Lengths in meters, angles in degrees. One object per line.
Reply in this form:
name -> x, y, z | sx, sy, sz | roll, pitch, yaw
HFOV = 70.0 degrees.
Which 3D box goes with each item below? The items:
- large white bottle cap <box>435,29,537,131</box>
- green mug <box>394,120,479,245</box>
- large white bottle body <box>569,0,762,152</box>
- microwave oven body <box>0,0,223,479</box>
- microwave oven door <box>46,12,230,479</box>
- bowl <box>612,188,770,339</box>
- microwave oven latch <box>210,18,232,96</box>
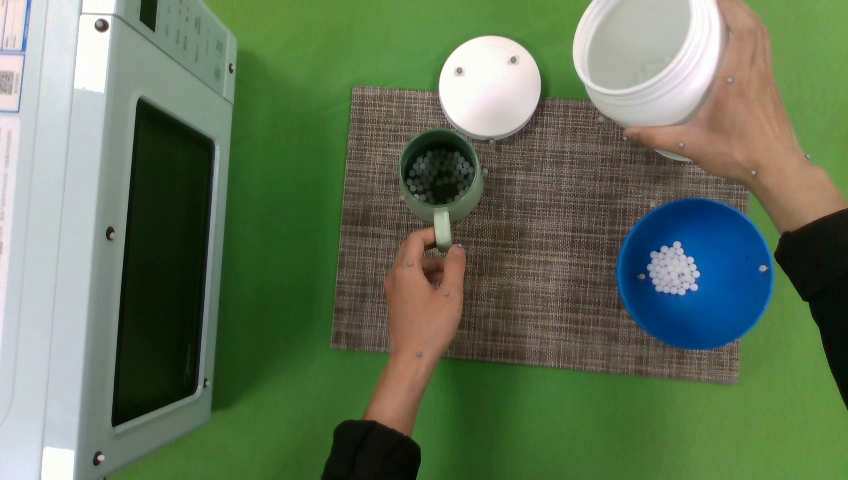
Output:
large white bottle cap -> 0.069, -0.180, 0.678 | 0.115, 0.018, 0.114 | 0, 84, 3
green mug -> 0.014, -0.058, 0.635 | 0.092, 0.105, 0.125 | -5, 88, 2
large white bottle body -> 0.228, -0.167, 0.571 | 0.130, 0.186, 0.130 | -9, 76, 41
microwave oven body -> -0.395, -0.039, 0.579 | 0.326, 0.260, 0.441 | 3, 88, 3
microwave oven door -> -0.251, 0.010, 0.565 | 0.039, 0.244, 0.355 | 2, 88, 4
bowl -> 0.265, 0.025, 0.631 | 0.151, 0.077, 0.151 | 0, 88, 4
microwave oven latch -> -0.231, -0.203, 0.673 | 0.030, 0.029, 0.079 | 3, 89, 3
